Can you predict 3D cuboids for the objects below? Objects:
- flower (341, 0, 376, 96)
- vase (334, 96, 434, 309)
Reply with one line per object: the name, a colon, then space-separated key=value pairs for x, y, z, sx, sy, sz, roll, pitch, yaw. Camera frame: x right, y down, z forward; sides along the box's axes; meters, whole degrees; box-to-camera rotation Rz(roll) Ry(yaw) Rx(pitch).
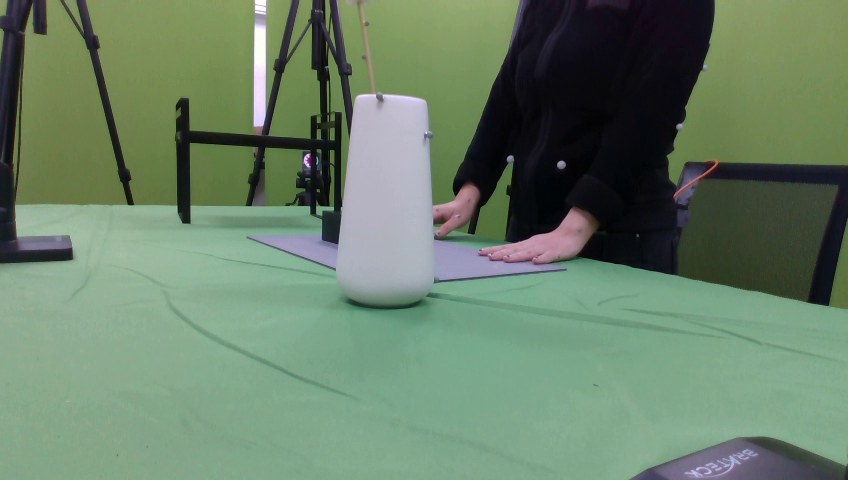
flower: x=-0.047 y=-0.119 z=0.591 sx=0.044 sy=0.361 sz=0.038 roll=-8 pitch=-7 yaw=-22
vase: x=-0.038 y=-0.036 z=0.590 sx=0.098 sy=0.200 sz=0.098 roll=1 pitch=8 yaw=0
